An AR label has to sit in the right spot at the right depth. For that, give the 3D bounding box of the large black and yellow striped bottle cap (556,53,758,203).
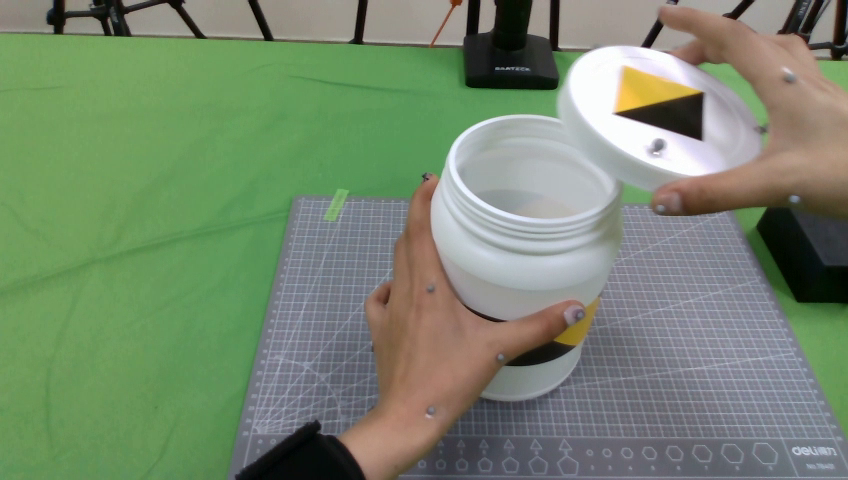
[{"bbox_3d":[0.134,-0.069,0.351,0.115,0.019,0.114,7,49,-8],"label":"large black and yellow striped bottle cap"}]

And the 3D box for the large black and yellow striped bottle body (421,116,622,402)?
[{"bbox_3d":[0.064,0.017,0.438,0.131,0.185,0.129,1,46,-1],"label":"large black and yellow striped bottle body"}]
